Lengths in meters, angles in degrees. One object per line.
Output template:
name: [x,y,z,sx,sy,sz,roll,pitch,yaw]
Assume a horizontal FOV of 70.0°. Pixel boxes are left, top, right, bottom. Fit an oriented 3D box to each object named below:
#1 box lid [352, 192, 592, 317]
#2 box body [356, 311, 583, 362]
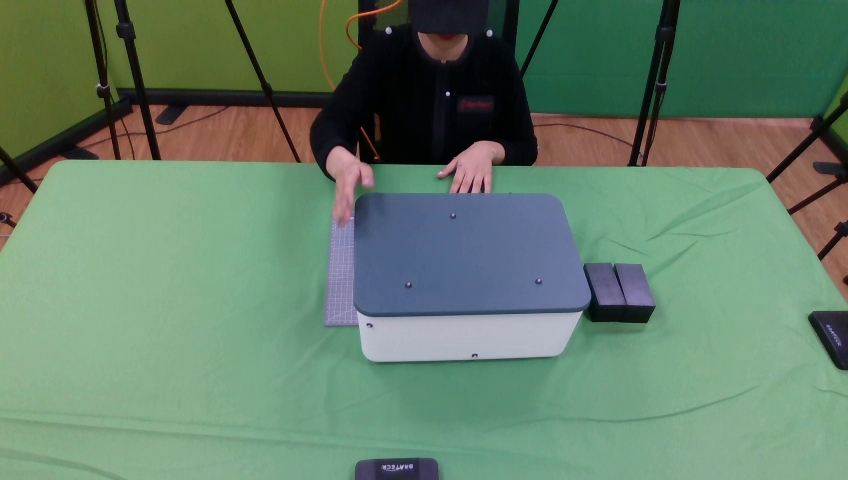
box lid: [0.071,0.014,0.986,0.372,0.015,0.261,-1,47,-5]
box body: [0.065,0.066,1.040,0.364,0.161,0.252,-1,46,-5]
